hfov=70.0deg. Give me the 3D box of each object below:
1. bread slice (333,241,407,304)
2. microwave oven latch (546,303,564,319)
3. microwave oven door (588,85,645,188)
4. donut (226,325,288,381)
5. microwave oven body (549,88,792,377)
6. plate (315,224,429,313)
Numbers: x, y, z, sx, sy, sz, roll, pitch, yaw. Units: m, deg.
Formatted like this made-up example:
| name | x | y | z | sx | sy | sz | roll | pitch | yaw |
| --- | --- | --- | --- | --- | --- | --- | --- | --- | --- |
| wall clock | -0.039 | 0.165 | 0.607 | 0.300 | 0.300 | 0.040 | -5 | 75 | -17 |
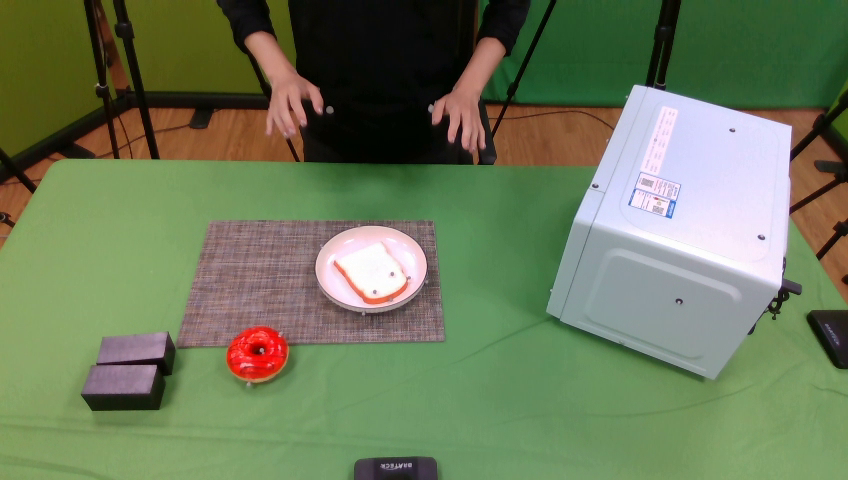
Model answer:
| name | x | y | z | sx | sy | sz | roll | pitch | yaw |
| --- | --- | --- | --- | --- | --- | --- | --- | --- | --- |
| bread slice | -0.092 | 0.060 | 1.117 | 0.105 | 0.019 | 0.130 | -24 | 52 | -24 |
| microwave oven latch | 0.242 | 0.102 | 1.081 | 0.030 | 0.029 | 0.079 | 21 | 48 | 17 |
| microwave oven door | 0.342 | -0.107 | 1.149 | 0.039 | 0.245 | 0.354 | 20 | 48 | 15 |
| donut | -0.270 | 0.182 | 0.984 | 0.099 | 0.048 | 0.098 | 5 | 49 | -5 |
| microwave oven body | 0.456 | -0.028 | 1.088 | 0.325 | 0.261 | 0.440 | 20 | 47 | 16 |
| plate | -0.096 | 0.055 | 1.121 | 0.208 | 0.039 | 0.206 | 2 | 46 | -2 |
